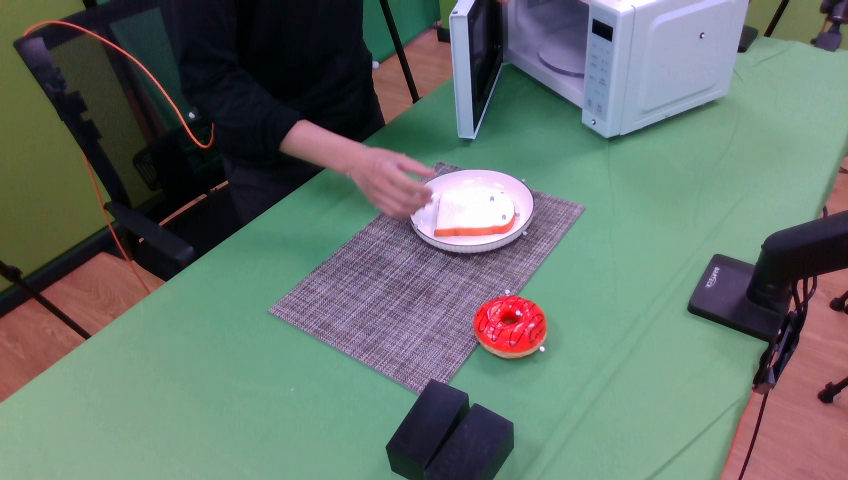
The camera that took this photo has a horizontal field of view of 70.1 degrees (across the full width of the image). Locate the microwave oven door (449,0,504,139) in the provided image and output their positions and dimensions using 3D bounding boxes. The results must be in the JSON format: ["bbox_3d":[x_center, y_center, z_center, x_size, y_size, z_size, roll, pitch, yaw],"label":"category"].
[{"bbox_3d":[0.114,-0.404,1.229,0.039,0.245,0.355,6,42,15],"label":"microwave oven door"}]

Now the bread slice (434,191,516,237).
[{"bbox_3d":[0.086,-0.046,0.996,0.131,0.019,0.104,-1,42,8],"label":"bread slice"}]

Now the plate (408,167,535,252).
[{"bbox_3d":[0.078,-0.047,0.996,0.207,0.039,0.206,-4,41,4],"label":"plate"}]

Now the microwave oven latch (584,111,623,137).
[{"bbox_3d":[0.337,-0.222,1.142,0.030,0.029,0.078,-21,42,-14],"label":"microwave oven latch"}]

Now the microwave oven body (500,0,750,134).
[{"bbox_3d":[0.382,-0.444,1.246,0.327,0.261,0.437,-22,42,-16],"label":"microwave oven body"}]

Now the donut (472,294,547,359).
[{"bbox_3d":[0.114,0.114,0.803,0.099,0.048,0.098,0,40,1],"label":"donut"}]
